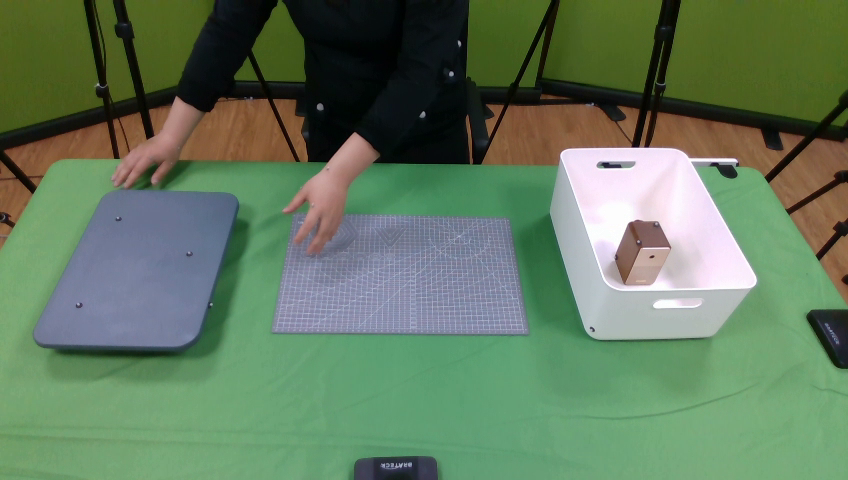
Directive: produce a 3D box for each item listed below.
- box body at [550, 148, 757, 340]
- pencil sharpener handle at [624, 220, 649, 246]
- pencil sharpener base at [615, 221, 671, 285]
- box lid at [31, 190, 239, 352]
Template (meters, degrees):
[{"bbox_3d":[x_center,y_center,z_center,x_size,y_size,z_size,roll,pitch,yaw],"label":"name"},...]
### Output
[{"bbox_3d":[0.395,0.003,1.127,0.254,0.161,0.361,-1,46,-5],"label":"box body"},{"bbox_3d":[0.402,-0.020,1.163,0.036,0.068,0.030,5,44,-10],"label":"pencil sharpener handle"},{"bbox_3d":[0.407,0.024,1.136,0.061,0.107,0.076,-1,45,-4],"label":"pencil sharpener base"},{"bbox_3d":[-0.491,0.040,1.070,0.263,0.015,0.369,1,46,-3],"label":"box lid"}]
